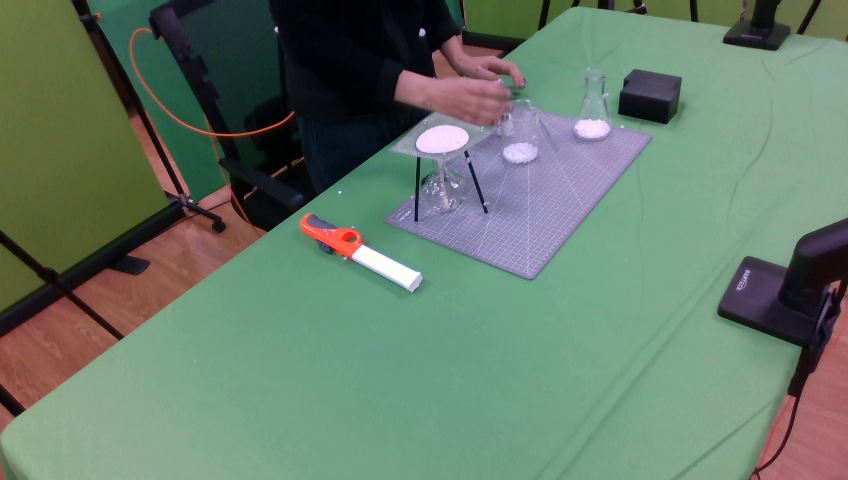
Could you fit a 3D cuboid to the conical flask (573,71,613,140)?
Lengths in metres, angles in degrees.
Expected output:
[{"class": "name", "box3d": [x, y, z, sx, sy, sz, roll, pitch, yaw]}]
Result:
[{"class": "conical flask", "box3d": [0.321, -0.256, 1.142, 0.075, 0.122, 0.075, -5, 40, 5]}]

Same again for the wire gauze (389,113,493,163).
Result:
[{"class": "wire gauze", "box3d": [0.026, -0.164, 0.977, 0.120, 0.011, 0.125, 23, 49, 35]}]

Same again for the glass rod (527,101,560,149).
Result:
[{"class": "glass rod", "box3d": [0.240, -0.236, 1.223, 0.008, 0.008, 0.198, -12, 40, -2]}]

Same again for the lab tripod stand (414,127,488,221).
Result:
[{"class": "lab tripod stand", "box3d": [0.035, -0.114, 1.021, 0.148, 0.132, 0.147, -7, 39, 6]}]

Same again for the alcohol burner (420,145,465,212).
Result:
[{"class": "alcohol burner", "box3d": [0.030, -0.108, 1.030, 0.078, 0.119, 0.077, -5, 38, 4]}]

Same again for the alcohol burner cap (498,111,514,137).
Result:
[{"class": "alcohol burner cap", "box3d": [0.163, -0.235, 1.211, 0.034, 0.048, 0.033, -6, 39, 5]}]

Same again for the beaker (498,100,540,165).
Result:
[{"class": "beaker", "box3d": [0.180, -0.196, 1.117, 0.074, 0.101, 0.083, -25, 43, -17]}]

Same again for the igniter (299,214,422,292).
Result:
[{"class": "igniter", "box3d": [-0.113, 0.016, 0.983, 0.274, 0.025, 0.057, 26, 62, 35]}]
